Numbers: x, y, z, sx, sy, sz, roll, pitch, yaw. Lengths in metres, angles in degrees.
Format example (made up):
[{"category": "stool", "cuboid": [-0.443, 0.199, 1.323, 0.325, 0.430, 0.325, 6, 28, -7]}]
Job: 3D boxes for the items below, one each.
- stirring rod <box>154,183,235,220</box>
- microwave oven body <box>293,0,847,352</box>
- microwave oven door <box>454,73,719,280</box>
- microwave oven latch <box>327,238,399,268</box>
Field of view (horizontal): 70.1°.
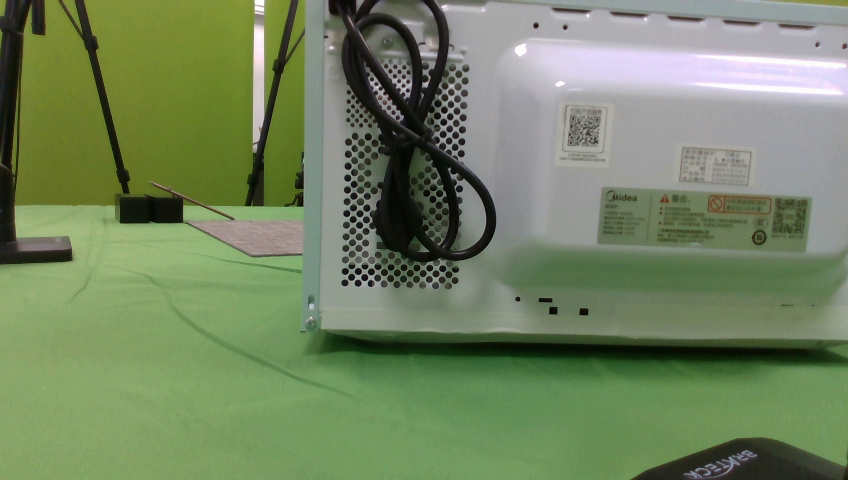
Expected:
[{"category": "stirring rod", "cuboid": [-0.472, -0.079, 1.252, 0.177, 0.006, 0.014, 27, 3, -35]}, {"category": "microwave oven body", "cuboid": [0.122, -0.055, 0.550, 0.442, 0.260, 0.325, 3, 7, -5]}, {"category": "microwave oven door", "cuboid": [0.195, -0.091, 0.815, 0.354, 0.243, 0.039, 8, 8, 39]}, {"category": "microwave oven latch", "cuboid": [-0.069, 0.015, 0.694, 0.079, 0.029, 0.030, 3, 7, -3]}]
